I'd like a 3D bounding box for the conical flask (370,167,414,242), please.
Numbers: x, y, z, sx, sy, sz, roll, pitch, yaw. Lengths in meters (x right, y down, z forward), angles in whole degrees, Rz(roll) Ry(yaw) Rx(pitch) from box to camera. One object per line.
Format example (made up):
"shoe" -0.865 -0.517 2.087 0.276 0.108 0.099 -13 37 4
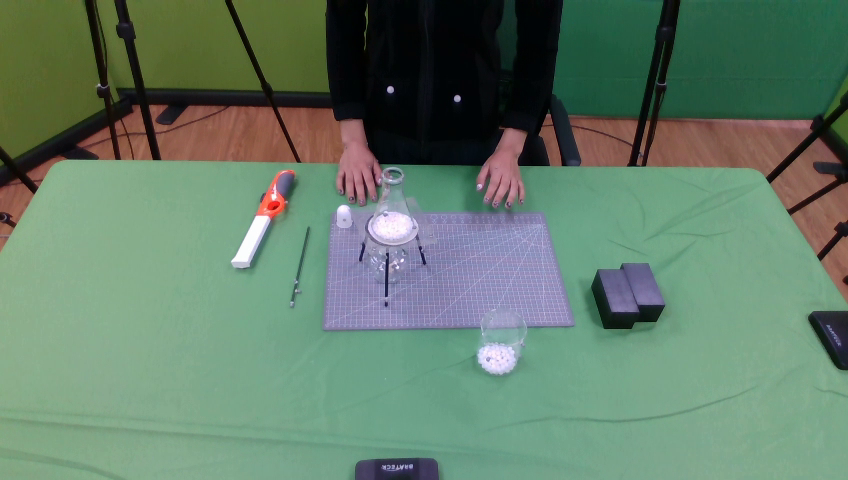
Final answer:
"conical flask" -0.053 -0.062 1.000 0.075 0.122 0.075 2 44 -2

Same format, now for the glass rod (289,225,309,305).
"glass rod" -0.235 0.043 1.149 0.008 0.008 0.198 3 46 -1

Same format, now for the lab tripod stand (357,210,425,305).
"lab tripod stand" -0.060 0.020 1.094 0.148 0.132 0.147 3 44 -2

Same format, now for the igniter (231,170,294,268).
"igniter" -0.321 -0.050 1.220 0.057 0.025 0.275 1 45 12

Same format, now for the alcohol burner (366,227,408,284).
"alcohol burner" -0.068 0.024 1.104 0.078 0.120 0.077 1 46 -1

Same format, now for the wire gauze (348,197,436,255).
"wire gauze" -0.056 -0.025 1.046 0.125 0.011 0.120 -14 46 -15

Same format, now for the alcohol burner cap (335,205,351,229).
"alcohol burner cap" -0.164 -0.049 1.216 0.034 0.048 0.033 1 45 -1

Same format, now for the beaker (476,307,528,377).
"beaker" 0.122 0.171 0.991 0.084 0.101 0.073 -34 56 -31
